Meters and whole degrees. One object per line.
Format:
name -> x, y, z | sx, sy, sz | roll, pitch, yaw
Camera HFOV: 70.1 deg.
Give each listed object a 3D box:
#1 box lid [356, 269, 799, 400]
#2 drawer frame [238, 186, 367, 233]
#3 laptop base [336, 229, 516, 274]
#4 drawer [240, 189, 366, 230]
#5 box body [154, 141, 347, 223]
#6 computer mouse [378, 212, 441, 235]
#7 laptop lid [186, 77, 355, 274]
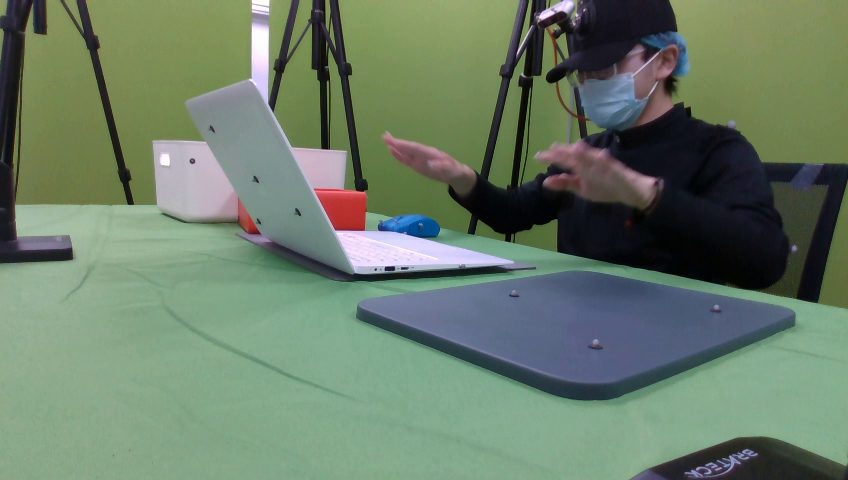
box lid -> 0.152, 0.068, 0.564 | 0.374, 0.015, 0.262 | -4, 10, -41
drawer frame -> -0.237, -0.063, 1.157 | 0.214, 0.082, 0.201 | -2, 8, -23
laptop base -> -0.065, 0.014, 0.877 | 0.237, 0.023, 0.352 | 2, 6, -32
drawer -> -0.235, -0.063, 1.158 | 0.213, 0.073, 0.193 | -1, 7, -22
box body -> -0.384, -0.131, 1.346 | 0.366, 0.160, 0.253 | -3, 9, -36
computer mouse -> -0.027, -0.030, 1.141 | 0.118, 0.041, 0.062 | -4, 12, -34
laptop lid -> -0.211, -0.081, 0.772 | 0.013, 0.242, 0.355 | -35, 25, -23
